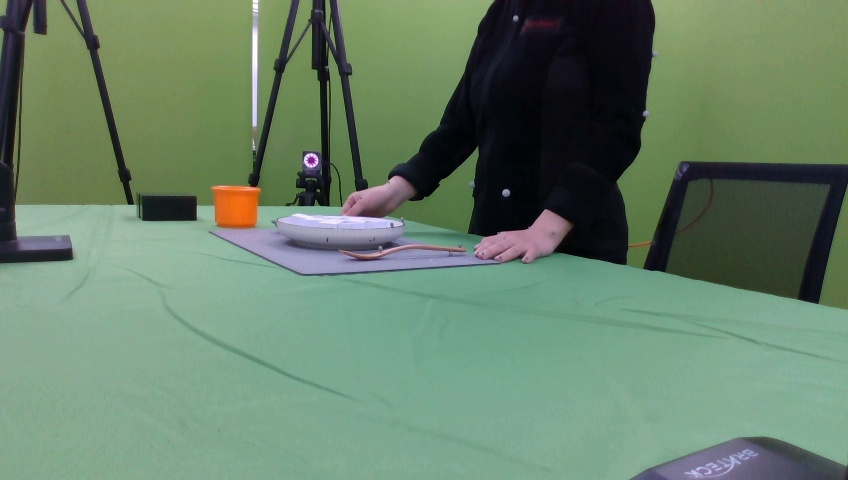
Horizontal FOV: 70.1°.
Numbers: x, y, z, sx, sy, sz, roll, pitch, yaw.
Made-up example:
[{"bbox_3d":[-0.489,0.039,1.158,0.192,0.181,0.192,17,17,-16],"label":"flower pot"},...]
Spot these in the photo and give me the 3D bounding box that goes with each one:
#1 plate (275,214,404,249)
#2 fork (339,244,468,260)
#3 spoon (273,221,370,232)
[{"bbox_3d":[-0.135,-0.013,0.982,0.208,0.039,0.207,3,7,0],"label":"plate"},{"bbox_3d":[-0.024,0.016,0.865,0.208,0.018,0.028,-4,4,-31],"label":"fork"},{"bbox_3d":[-0.186,-0.028,1.131,0.195,0.021,0.041,-3,7,-33],"label":"spoon"}]
